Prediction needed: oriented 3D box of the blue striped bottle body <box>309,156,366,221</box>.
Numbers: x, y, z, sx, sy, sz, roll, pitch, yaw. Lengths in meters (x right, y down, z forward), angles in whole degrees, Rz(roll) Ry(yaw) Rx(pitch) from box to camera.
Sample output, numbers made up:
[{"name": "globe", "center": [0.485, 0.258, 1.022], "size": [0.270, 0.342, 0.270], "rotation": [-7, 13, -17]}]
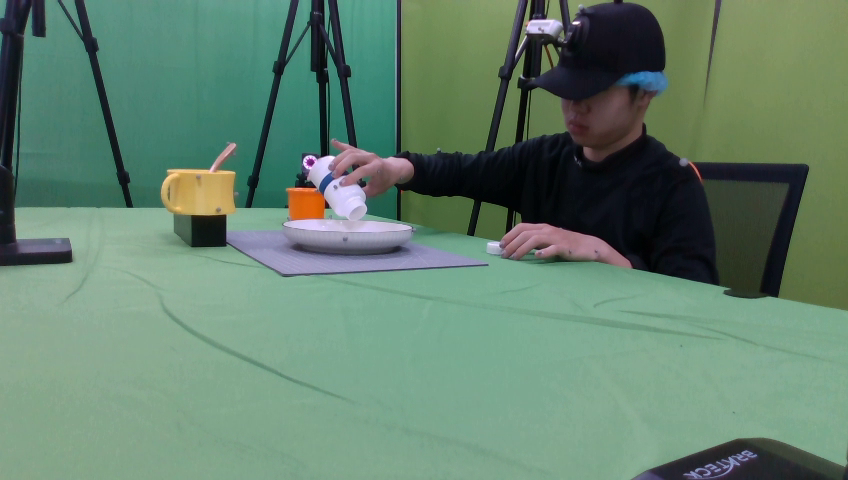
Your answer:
[{"name": "blue striped bottle body", "center": [-0.148, -0.087, 1.064], "size": [0.063, 0.063, 0.120], "rotation": [-5, 48, -48]}]

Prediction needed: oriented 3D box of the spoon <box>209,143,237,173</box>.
[{"name": "spoon", "center": [-0.341, -0.113, 0.990], "size": [0.041, 0.021, 0.193], "rotation": [1, 40, 6]}]

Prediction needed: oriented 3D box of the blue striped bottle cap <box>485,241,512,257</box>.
[{"name": "blue striped bottle cap", "center": [0.123, 0.015, 1.000], "size": [0.044, 0.020, 0.044], "rotation": [6, 7, 0]}]

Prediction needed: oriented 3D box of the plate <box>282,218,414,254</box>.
[{"name": "plate", "center": [-0.121, -0.007, 0.971], "size": [0.208, 0.039, 0.207], "rotation": [2, 7, 0]}]

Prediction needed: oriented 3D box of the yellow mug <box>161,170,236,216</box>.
[{"name": "yellow mug", "center": [-0.354, -0.074, 0.935], "size": [0.099, 0.064, 0.131], "rotation": [5, 9, 21]}]
